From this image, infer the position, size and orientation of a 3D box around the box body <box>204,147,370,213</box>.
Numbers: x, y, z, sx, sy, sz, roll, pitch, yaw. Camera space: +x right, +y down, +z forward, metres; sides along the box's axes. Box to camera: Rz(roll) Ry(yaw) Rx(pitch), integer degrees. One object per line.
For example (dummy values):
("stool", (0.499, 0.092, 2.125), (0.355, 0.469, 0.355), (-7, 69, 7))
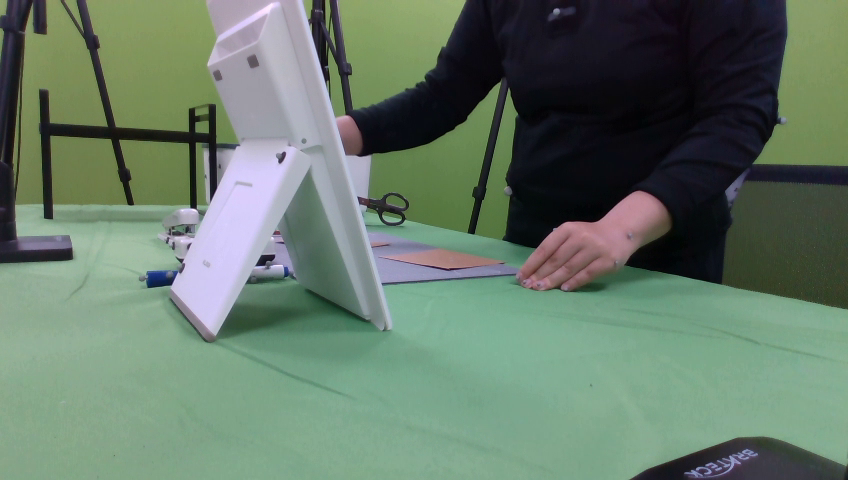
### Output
("box body", (-0.347, -0.152, 1.519), (0.366, 0.160, 0.253), (-2, 9, -31))

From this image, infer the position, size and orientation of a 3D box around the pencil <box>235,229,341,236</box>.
("pencil", (-0.232, -0.012, 1.053), (0.195, 0.012, 0.012), (0, 8, -36))

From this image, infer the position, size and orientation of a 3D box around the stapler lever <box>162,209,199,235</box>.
("stapler lever", (-0.376, -0.032, 0.933), (0.027, 0.040, 0.117), (0, 7, -38))

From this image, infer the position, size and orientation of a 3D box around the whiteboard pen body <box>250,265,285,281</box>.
("whiteboard pen body", (-0.220, 0.039, 0.656), (0.141, 0.017, 0.017), (-2, 9, -31))

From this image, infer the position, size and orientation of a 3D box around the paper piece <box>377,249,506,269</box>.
("paper piece", (0.026, 0.026, 0.865), (0.134, 0.004, 0.136), (9, 9, 43))

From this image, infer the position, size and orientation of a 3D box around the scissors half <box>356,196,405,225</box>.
("scissors half", (-0.127, -0.072, 1.322), (0.175, 0.040, 0.013), (22, 6, -5))

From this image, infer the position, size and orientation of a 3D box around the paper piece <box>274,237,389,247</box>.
("paper piece", (-0.151, 0.003, 0.978), (0.135, 0.008, 0.139), (12, 10, 34))

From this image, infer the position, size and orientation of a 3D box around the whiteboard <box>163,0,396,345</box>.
("whiteboard", (-0.173, -0.053, 0.511), (0.144, 0.305, 0.216), (-23, 19, -26))

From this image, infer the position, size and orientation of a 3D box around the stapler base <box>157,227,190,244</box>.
("stapler base", (-0.376, -0.008, 0.934), (0.041, 0.024, 0.130), (0, 6, -38))

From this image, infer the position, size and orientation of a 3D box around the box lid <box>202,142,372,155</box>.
("box lid", (-0.345, -0.225, 1.509), (0.373, 0.015, 0.262), (-2, 8, -31))

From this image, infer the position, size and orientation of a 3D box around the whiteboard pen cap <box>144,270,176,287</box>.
("whiteboard pen cap", (-0.271, 0.039, 0.627), (0.033, 0.018, 0.018), (-4, 10, -33))

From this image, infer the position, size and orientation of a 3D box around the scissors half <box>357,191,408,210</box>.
("scissors half", (-0.122, -0.091, 1.318), (0.175, 0.040, 0.013), (5, 12, -3))

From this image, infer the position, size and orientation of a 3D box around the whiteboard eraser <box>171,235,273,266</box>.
("whiteboard eraser", (-0.248, 0.014, 0.747), (0.113, 0.042, 0.055), (-1, 9, -32))
